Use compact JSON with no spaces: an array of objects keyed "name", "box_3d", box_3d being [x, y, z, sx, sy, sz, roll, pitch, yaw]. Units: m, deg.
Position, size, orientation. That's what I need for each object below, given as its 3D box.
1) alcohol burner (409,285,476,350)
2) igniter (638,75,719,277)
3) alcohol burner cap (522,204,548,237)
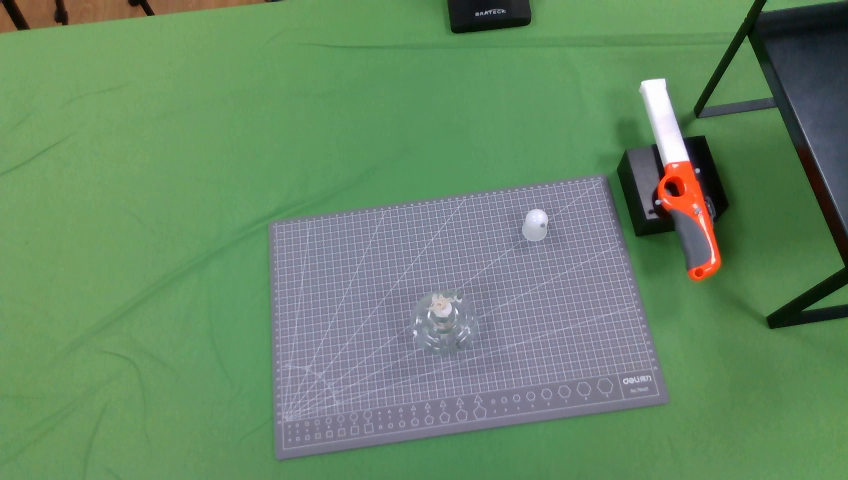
[{"name":"alcohol burner","box_3d":[0.020,0.082,0.679,0.078,0.120,0.077,-1,69,4]},{"name":"igniter","box_3d":[0.305,-0.085,0.731,0.057,0.025,0.274,-5,65,2]},{"name":"alcohol burner cap","box_3d":[0.140,-0.027,0.756,0.034,0.048,0.033,-1,68,4]}]
